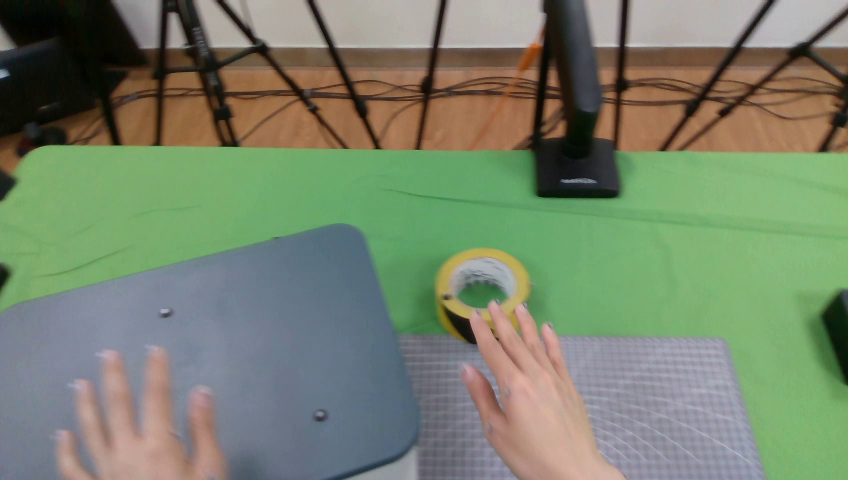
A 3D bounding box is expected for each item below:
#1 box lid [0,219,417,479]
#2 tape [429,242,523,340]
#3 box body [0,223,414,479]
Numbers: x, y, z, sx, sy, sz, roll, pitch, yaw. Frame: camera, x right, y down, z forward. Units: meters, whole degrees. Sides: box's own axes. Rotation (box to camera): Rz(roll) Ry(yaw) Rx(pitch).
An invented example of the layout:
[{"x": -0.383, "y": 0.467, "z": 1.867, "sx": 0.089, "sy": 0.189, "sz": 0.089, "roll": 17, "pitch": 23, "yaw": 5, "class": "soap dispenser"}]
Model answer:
[{"x": -0.210, "y": 0.118, "z": 0.536, "sx": 0.372, "sy": 0.015, "sz": 0.260, "roll": -16, "pitch": 53, "yaw": -10, "class": "box lid"}, {"x": 0.061, "y": 0.060, "z": 0.737, "sx": 0.117, "sy": 0.053, "sz": 0.115, "roll": -1, "pitch": 49, "yaw": 2, "class": "tape"}, {"x": -0.208, "y": 0.165, "z": 0.594, "sx": 0.364, "sy": 0.162, "sz": 0.251, "roll": -16, "pitch": 52, "yaw": -9, "class": "box body"}]
